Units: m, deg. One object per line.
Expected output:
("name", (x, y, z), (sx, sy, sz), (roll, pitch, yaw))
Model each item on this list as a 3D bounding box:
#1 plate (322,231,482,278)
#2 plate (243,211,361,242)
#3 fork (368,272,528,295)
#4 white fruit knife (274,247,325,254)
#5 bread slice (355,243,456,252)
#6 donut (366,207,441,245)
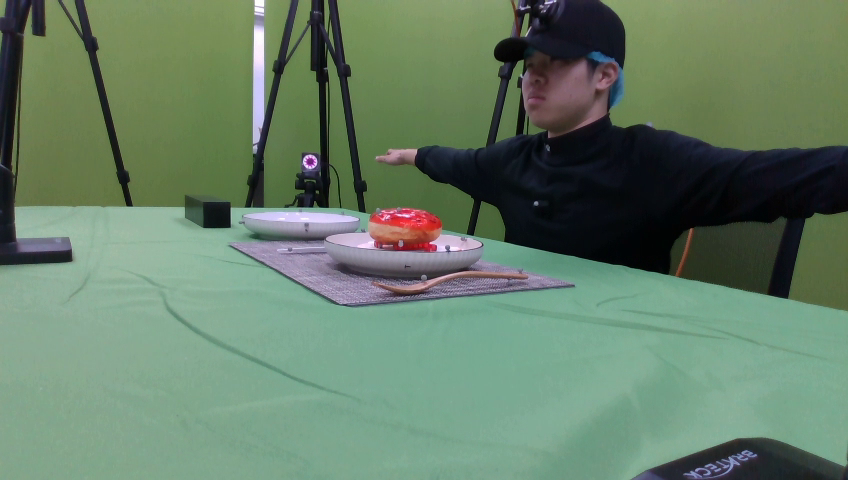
("plate", (-0.028, 0.018, 0.789), (0.209, 0.038, 0.209), (3, 7, 0))
("plate", (-0.219, -0.025, 1.092), (0.208, 0.039, 0.207), (3, 7, 0))
("fork", (0.034, 0.046, 0.661), (0.208, 0.018, 0.028), (-4, 2, -33))
("white fruit knife", (-0.118, 0.013, 0.899), (0.208, 0.016, 0.027), (-3, -21, -27))
("bread slice", (-0.027, 0.020, 0.794), (0.131, 0.019, 0.105), (6, 7, 17))
("donut", (-0.027, -0.017, 0.786), (0.099, 0.048, 0.099), (2, 7, 0))
